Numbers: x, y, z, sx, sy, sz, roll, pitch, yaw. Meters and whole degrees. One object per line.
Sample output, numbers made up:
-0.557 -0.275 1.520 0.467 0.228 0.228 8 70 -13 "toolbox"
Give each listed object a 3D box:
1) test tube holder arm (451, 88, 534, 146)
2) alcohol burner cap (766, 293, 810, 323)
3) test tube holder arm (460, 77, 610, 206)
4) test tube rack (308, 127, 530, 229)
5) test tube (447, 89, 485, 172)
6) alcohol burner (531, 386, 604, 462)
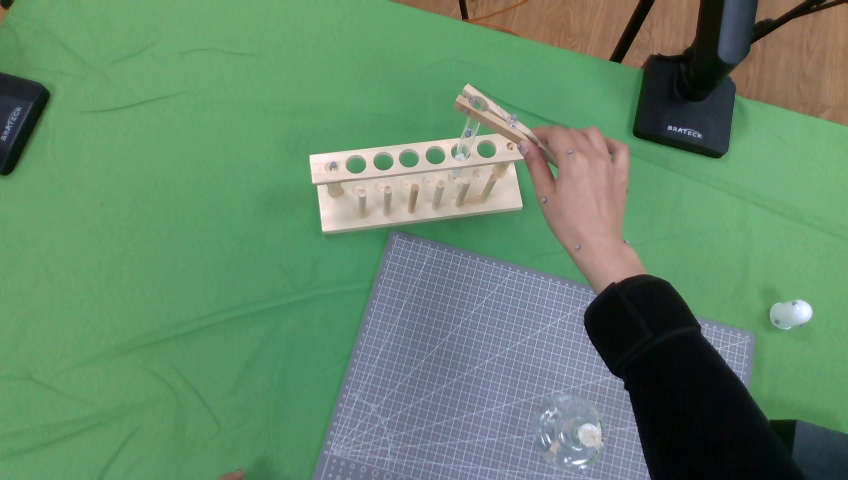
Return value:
0.066 -0.117 0.577 0.088 0.015 0.010 30 64 0 "test tube holder arm"
0.430 0.079 0.711 0.034 0.048 0.033 1 74 -3 "alcohol burner cap"
0.105 -0.094 0.577 0.178 0.015 0.013 40 65 4 "test tube holder arm"
-0.004 -0.072 0.698 0.243 0.085 0.066 -8 75 -6 "test tube rack"
0.042 -0.111 0.643 0.017 0.151 0.017 2 69 -6 "test tube"
0.152 0.190 0.622 0.078 0.119 0.077 1 76 -4 "alcohol burner"
